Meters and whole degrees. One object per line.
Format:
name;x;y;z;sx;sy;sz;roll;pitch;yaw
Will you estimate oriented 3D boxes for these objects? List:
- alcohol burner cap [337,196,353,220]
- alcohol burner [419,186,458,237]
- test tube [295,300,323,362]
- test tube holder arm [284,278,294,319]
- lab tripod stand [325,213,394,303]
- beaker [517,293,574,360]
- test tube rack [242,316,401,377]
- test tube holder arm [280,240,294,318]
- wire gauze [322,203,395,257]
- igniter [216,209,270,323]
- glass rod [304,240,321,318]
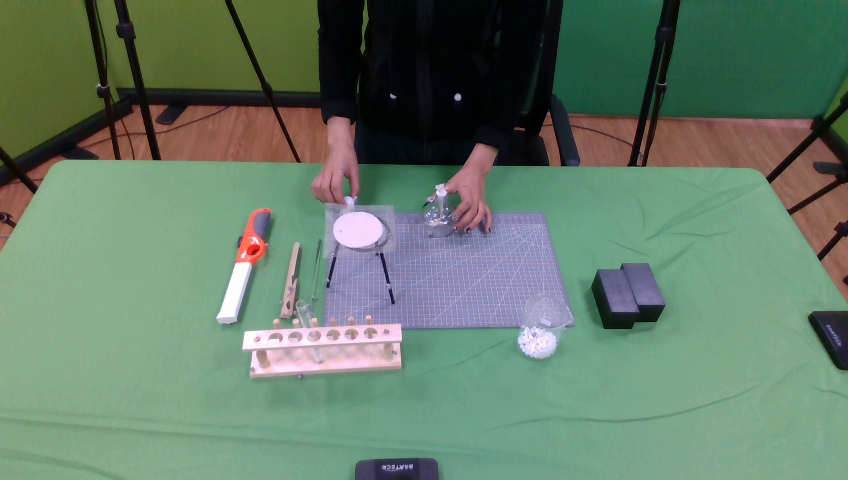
alcohol burner cap;-0.158;-0.066;1.220;0.034;0.048;0.033;4;47;-4
alcohol burner;0.030;-0.063;1.196;0.078;0.119;0.077;3;48;-3
test tube;-0.176;0.143;0.935;0.017;0.151;0.017;-2;46;2
test tube holder arm;-0.243;0.103;1.085;0.010;0.015;0.087;29;37;-31
lab tripod stand;-0.104;0.031;1.080;0.148;0.132;0.147;4;45;-4
beaker;0.200;0.149;1.018;0.084;0.101;0.073;14;47;8
test tube rack;-0.160;0.166;0.983;0.242;0.085;0.066;-2;46;-6
test tube holder arm;-0.251;0.068;1.113;0.013;0.015;0.177;28;38;-32
wire gauze;-0.111;-0.020;1.035;0.121;0.011;0.124;0;47;-7
igniter;-0.335;0.039;1.132;0.057;0.025;0.275;-3;46;6
glass rod;-0.207;0.068;1.128;0.008;0.008;0.198;2;43;-2
